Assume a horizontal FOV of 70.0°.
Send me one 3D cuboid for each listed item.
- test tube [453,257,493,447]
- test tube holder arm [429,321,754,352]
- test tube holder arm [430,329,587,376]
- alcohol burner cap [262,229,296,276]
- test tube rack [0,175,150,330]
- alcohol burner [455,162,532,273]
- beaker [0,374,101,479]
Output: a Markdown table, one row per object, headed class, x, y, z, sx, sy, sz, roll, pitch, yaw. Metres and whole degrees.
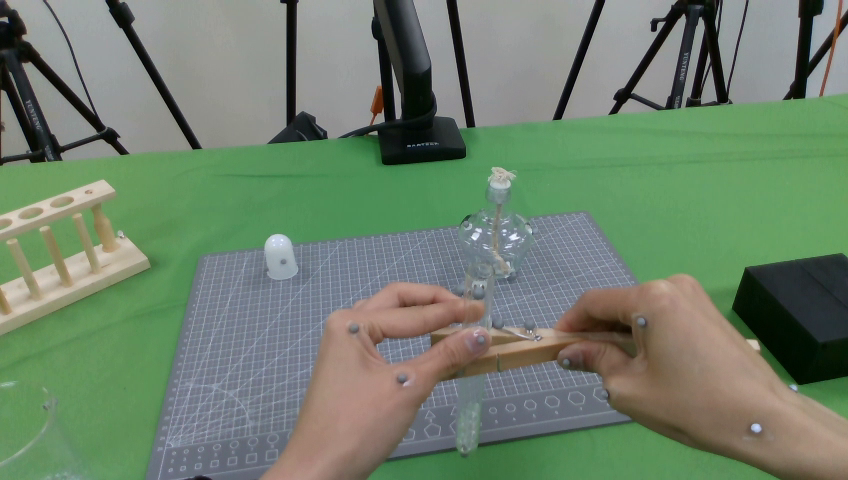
| class | x | y | z | sx | sy | sz | roll | pitch | yaw |
| --- | --- | --- | --- | --- | --- | --- | --- | --- | --- |
| test tube | 0.027 | 0.071 | 0.349 | 0.017 | 0.151 | 0.017 | 0 | 38 | 0 |
| test tube holder arm | 0.092 | 0.054 | 0.341 | 0.178 | 0.015 | 0.013 | 0 | 39 | 3 |
| test tube holder arm | 0.047 | 0.060 | 0.336 | 0.088 | 0.015 | 0.010 | -9 | 38 | -8 |
| alcohol burner cap | -0.153 | 0.011 | 0.632 | 0.034 | 0.048 | 0.033 | -2 | 36 | 2 |
| test tube rack | -0.409 | 0.027 | 0.588 | 0.242 | 0.086 | 0.066 | -30 | 45 | -33 |
| alcohol burner | 0.071 | -0.026 | 0.611 | 0.078 | 0.120 | 0.077 | 0 | 36 | 0 |
| beaker | -0.268 | 0.150 | 0.399 | 0.084 | 0.101 | 0.073 | -2 | 36 | 1 |
